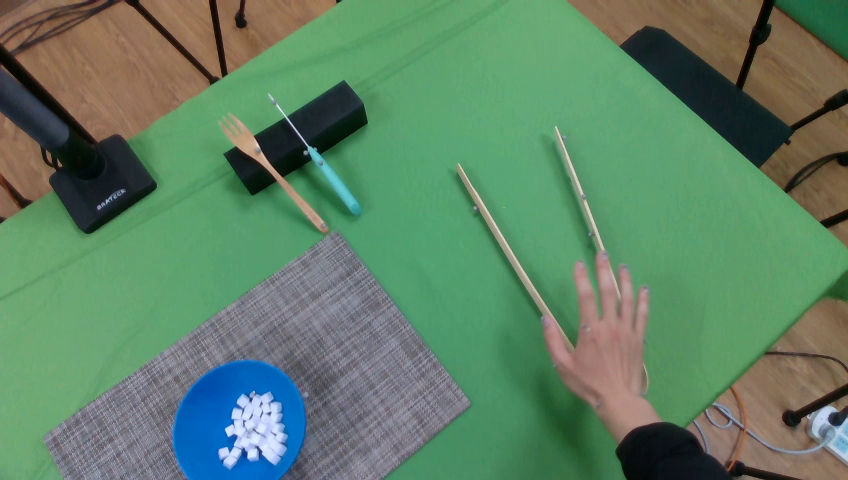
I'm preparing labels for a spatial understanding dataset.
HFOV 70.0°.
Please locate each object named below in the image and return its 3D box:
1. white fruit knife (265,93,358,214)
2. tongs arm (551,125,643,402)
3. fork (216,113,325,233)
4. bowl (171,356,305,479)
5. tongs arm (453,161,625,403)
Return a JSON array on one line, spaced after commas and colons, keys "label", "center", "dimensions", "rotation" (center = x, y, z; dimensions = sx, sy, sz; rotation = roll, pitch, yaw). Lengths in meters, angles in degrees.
[{"label": "white fruit knife", "center": [-0.159, -0.121, 0.841], "dimensions": [0.016, 0.027, 0.207], "rotation": [-38, 89, -6]}, {"label": "tongs arm", "center": [0.215, 0.019, 0.805], "dimensions": [0.051, 0.027, 0.382], "rotation": [-16, 71, -3]}, {"label": "fork", "center": [-0.208, -0.090, 0.832], "dimensions": [0.028, 0.018, 0.207], "rotation": [-43, 94, -17]}, {"label": "bowl", "center": [-0.209, 0.220, 0.717], "dimensions": [0.151, 0.077, 0.150], "rotation": [0, 69, 2]}, {"label": "tongs arm", "center": [0.139, 0.047, 0.801], "dimensions": [0.028, 0.028, 0.384], "rotation": [-27, 71, -11]}]
